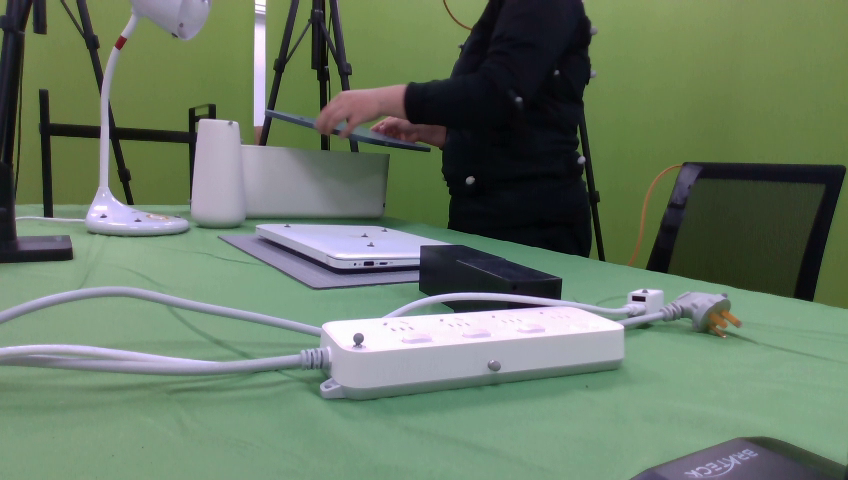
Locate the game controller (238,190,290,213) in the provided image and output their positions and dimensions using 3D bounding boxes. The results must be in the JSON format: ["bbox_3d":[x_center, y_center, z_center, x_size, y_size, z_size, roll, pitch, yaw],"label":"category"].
[{"bbox_3d":[-0.391,-0.094,1.465,0.097,0.051,0.154,-3,8,-29],"label":"game controller"}]

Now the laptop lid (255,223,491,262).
[{"bbox_3d":[-0.093,0.000,0.911,0.243,0.013,0.355,1,7,-30],"label":"laptop lid"}]

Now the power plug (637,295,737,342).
[{"bbox_3d":[0.235,0.078,0.536,0.072,0.035,0.052,-34,40,-5],"label":"power plug"}]

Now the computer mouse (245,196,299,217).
[{"bbox_3d":[-0.345,-0.077,1.371,0.118,0.041,0.062,-11,17,-32],"label":"computer mouse"}]

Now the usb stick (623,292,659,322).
[{"bbox_3d":[0.211,0.064,0.581,0.021,0.027,0.059,-1,-3,36],"label":"usb stick"}]

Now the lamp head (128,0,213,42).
[{"bbox_3d":[-0.423,-0.394,0.980,0.123,0.112,0.112,20,7,-3],"label":"lamp head"}]

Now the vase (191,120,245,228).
[{"bbox_3d":[-0.389,-0.123,1.143,0.098,0.200,0.098,3,9,0],"label":"vase"}]

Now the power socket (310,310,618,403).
[{"bbox_3d":[0.033,0.074,0.415,0.228,0.032,0.072,-1,7,-24],"label":"power socket"}]

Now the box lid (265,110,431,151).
[{"bbox_3d":[-0.161,-0.247,1.391,0.262,0.015,0.373,18,12,19],"label":"box lid"}]

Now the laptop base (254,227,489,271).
[{"bbox_3d":[-0.096,0.012,0.911,0.237,0.023,0.352,2,6,-32],"label":"laptop base"}]

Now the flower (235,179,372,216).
[{"bbox_3d":[-0.268,-0.089,1.420,0.364,0.044,0.038,11,44,-41],"label":"flower"}]

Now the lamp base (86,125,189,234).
[{"bbox_3d":[-0.497,-0.105,1.027,0.179,0.180,0.160,1,7,2],"label":"lamp base"}]

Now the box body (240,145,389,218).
[{"bbox_3d":[-0.297,-0.143,1.474,0.366,0.160,0.253,-1,9,-30],"label":"box body"}]
